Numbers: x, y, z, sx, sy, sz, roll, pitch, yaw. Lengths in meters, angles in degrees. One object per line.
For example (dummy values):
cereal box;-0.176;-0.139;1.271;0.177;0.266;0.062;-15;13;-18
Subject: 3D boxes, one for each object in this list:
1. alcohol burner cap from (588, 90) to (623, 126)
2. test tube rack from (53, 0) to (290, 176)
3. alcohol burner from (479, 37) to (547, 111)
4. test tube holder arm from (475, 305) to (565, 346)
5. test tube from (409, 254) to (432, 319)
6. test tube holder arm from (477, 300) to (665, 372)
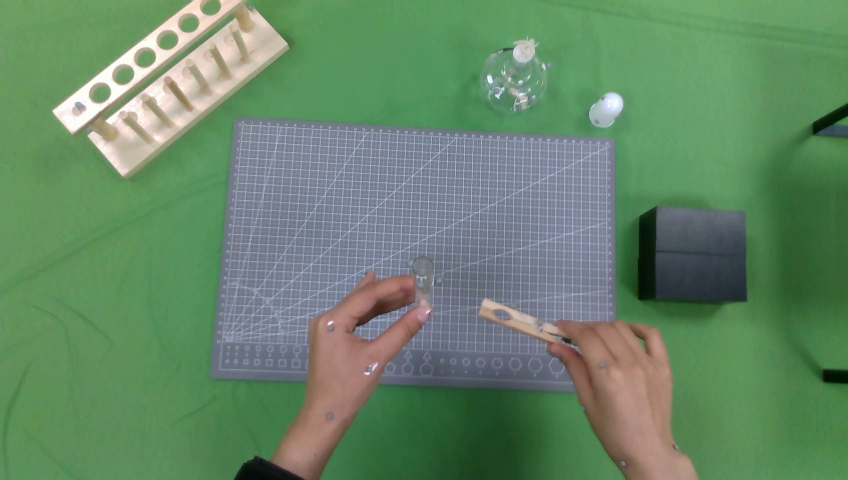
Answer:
alcohol burner cap;0.215;-0.157;0.713;0.034;0.048;0.033;0;80;-2
test tube rack;-0.271;-0.184;0.673;0.242;0.085;0.066;-42;84;-8
alcohol burner;0.103;-0.191;0.677;0.078;0.119;0.077;1;79;-3
test tube holder arm;0.090;0.080;0.568;0.087;0.015;0.010;19;84;7
test tube;-0.002;0.041;0.486;0.017;0.151;0.017;0;71;1
test tube holder arm;0.135;0.089;0.563;0.178;0.015;0.013;17;84;7
